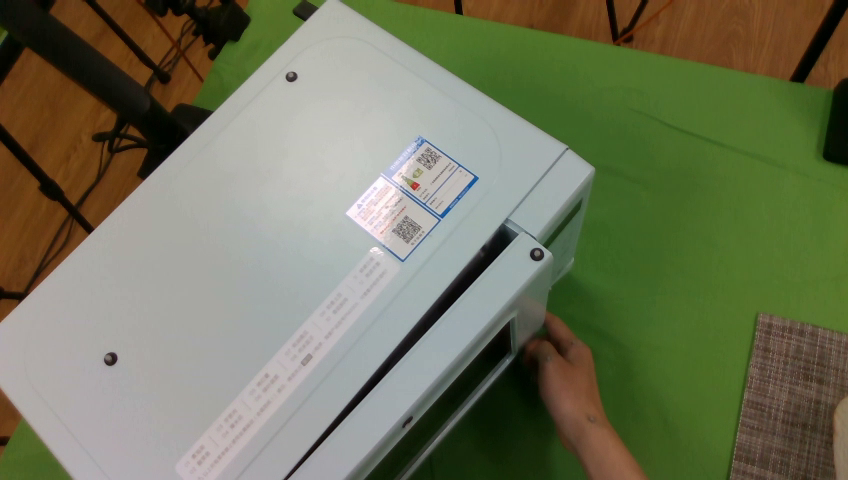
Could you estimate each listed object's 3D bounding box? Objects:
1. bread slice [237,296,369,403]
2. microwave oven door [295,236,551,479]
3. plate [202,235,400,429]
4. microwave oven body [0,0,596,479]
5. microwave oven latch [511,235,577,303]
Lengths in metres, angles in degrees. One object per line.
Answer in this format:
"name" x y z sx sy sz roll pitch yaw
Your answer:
"bread slice" -0.128 0.122 0.642 0.134 0.018 0.106 -10 66 -7
"microwave oven door" -0.019 0.167 0.534 0.039 0.246 0.355 41 80 21
"plate" -0.127 0.096 0.644 0.207 0.039 0.206 -1 67 3
"microwave oven body" -0.106 0.049 0.598 0.324 0.262 0.441 38 79 19
"microwave oven latch" 0.132 0.034 0.672 0.079 0.030 0.030 -39 69 -6
